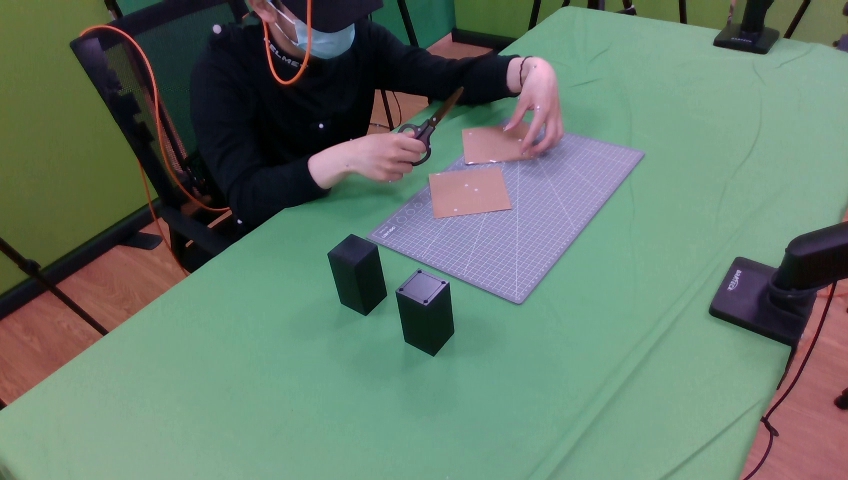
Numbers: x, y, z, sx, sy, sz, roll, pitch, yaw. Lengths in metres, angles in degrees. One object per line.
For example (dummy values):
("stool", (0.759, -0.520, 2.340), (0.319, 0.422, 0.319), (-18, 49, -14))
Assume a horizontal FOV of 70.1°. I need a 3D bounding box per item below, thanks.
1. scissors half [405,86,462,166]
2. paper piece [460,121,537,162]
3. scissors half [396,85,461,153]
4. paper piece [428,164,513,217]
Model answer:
("scissors half", (0.017, -0.190, 1.016), (0.040, 0.175, 0.013), (48, 38, 17))
("paper piece", (0.144, -0.193, 1.182), (0.136, 0.009, 0.137), (-2, 41, -1))
("scissors half", (0.006, -0.205, 1.020), (0.013, 0.174, 0.040), (-29, 85, -51))
("paper piece", (0.078, -0.091, 1.069), (0.135, 0.004, 0.135), (-6, 41, 0))
